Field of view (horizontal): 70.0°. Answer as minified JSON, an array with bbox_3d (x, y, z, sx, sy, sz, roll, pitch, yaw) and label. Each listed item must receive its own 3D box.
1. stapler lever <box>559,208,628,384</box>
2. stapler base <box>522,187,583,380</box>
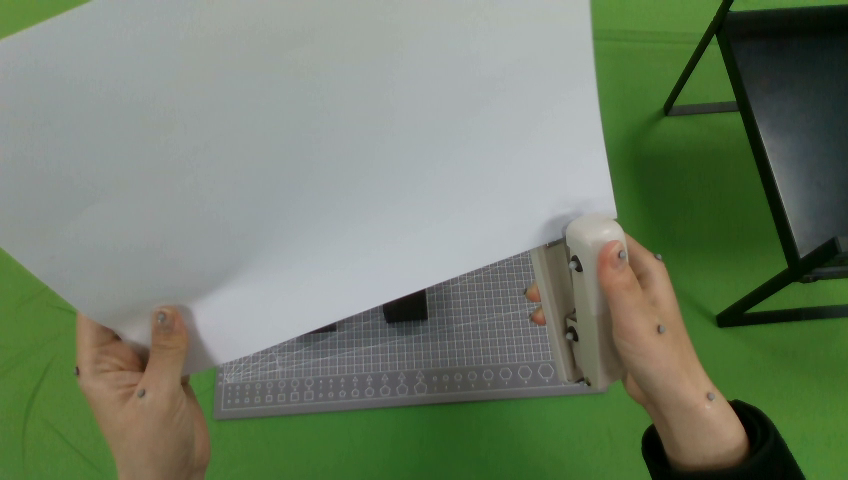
[{"bbox_3d":[0.107,0.037,0.366,0.027,0.040,0.119,-23,111,-18],"label":"stapler lever"},{"bbox_3d":[0.096,0.032,0.387,0.041,0.024,0.131,-23,111,-18],"label":"stapler base"}]
